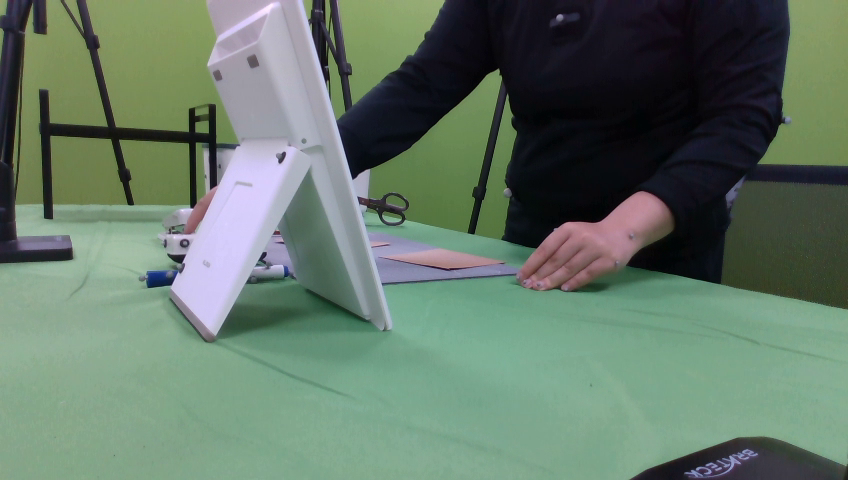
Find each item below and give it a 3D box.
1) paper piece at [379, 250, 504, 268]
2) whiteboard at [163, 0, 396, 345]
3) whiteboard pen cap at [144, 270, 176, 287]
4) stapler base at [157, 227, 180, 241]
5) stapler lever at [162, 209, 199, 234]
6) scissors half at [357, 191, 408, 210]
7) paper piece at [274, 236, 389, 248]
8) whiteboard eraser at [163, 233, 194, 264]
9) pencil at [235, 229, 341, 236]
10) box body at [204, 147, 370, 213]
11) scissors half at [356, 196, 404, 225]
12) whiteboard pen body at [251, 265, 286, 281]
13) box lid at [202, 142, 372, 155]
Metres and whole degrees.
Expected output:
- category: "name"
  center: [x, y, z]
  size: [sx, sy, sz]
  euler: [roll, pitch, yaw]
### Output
- category: "paper piece"
  center: [0.025, 0.027, 0.865]
  size: [0.134, 0.004, 0.136]
  euler: [9, 9, 43]
- category: "whiteboard"
  center: [-0.173, -0.053, 0.511]
  size: [0.144, 0.305, 0.216]
  euler: [-23, 19, -26]
- category: "whiteboard pen cap"
  center: [-0.271, 0.039, 0.627]
  size: [0.033, 0.018, 0.018]
  euler: [-4, 10, -33]
- category: "stapler base"
  center: [-0.376, -0.007, 0.934]
  size: [0.041, 0.024, 0.130]
  euler: [0, 5, -38]
- category: "stapler lever"
  center: [-0.377, -0.031, 0.933]
  size: [0.027, 0.040, 0.117]
  euler: [0, 7, -38]
- category: "scissors half"
  center: [-0.123, -0.091, 1.318]
  size: [0.175, 0.040, 0.013]
  euler: [5, 12, -3]
- category: "paper piece"
  center: [-0.151, 0.003, 0.978]
  size: [0.135, 0.008, 0.139]
  euler: [13, 10, 34]
- category: "whiteboard eraser"
  center: [-0.261, 0.012, 0.754]
  size: [0.113, 0.042, 0.055]
  euler: [0, 6, -34]
- category: "pencil"
  center: [-0.232, -0.012, 1.053]
  size: [0.195, 0.012, 0.012]
  euler: [0, 8, -36]
- category: "box body"
  center: [-0.347, -0.152, 1.519]
  size: [0.366, 0.160, 0.253]
  euler: [-2, 9, -31]
- category: "scissors half"
  center: [-0.127, -0.072, 1.321]
  size: [0.175, 0.040, 0.013]
  euler: [22, 5, -5]
- category: "whiteboard pen body"
  center: [-0.220, 0.039, 0.656]
  size: [0.141, 0.017, 0.017]
  euler: [-3, 9, -30]
- category: "box lid"
  center: [-0.345, -0.225, 1.509]
  size: [0.373, 0.015, 0.262]
  euler: [-2, 8, -31]
